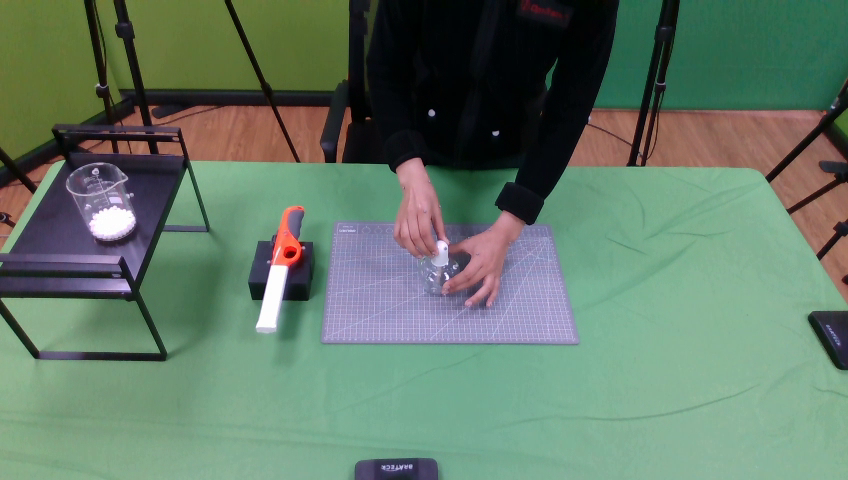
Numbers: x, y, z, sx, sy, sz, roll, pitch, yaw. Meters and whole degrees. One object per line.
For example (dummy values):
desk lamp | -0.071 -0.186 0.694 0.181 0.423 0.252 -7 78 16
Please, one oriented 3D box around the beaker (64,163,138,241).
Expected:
beaker | -0.477 -0.055 0.910 0.084 0.101 0.073 -9 48 -13

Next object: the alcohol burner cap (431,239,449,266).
alcohol burner cap | 0.029 0.019 1.068 0.034 0.048 0.033 1 46 -1

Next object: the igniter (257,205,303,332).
igniter | -0.252 0.040 1.070 0.057 0.025 0.275 3 50 -2

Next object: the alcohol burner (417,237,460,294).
alcohol burner | 0.026 0.041 1.089 0.078 0.120 0.077 0 46 0
